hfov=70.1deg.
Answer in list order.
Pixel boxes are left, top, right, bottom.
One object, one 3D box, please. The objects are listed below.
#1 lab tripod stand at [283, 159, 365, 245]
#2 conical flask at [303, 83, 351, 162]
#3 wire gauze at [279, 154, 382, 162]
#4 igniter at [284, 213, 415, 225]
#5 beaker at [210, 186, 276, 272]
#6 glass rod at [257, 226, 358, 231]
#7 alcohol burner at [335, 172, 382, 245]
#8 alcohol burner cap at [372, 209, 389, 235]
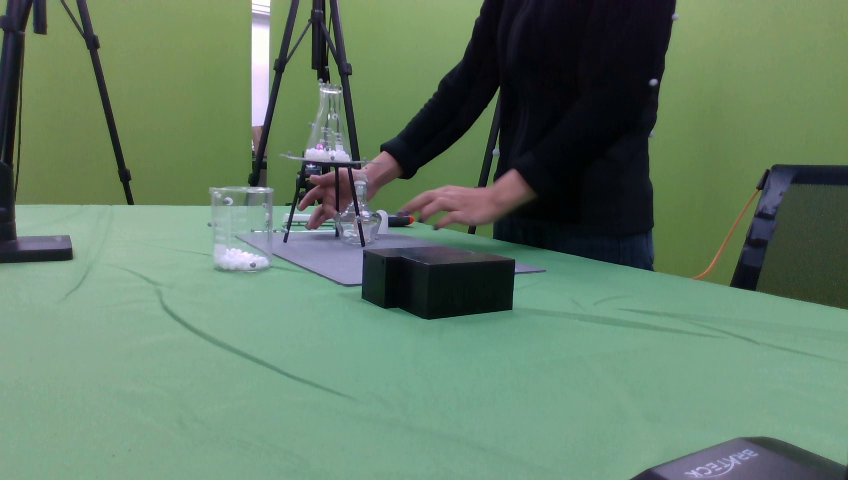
[{"bbox_3d":[-0.151,-0.063,0.983,0.148,0.131,0.148,4,7,0],"label":"lab tripod stand"},{"bbox_3d":[-0.151,-0.186,0.963,0.075,0.122,0.075,4,6,0],"label":"conical flask"},{"bbox_3d":[-0.149,-0.128,0.974,0.124,0.011,0.122,6,6,41],"label":"wire gauze"},{"bbox_3d":[-0.154,-0.045,1.282,0.278,0.025,0.057,0,-2,-20],"label":"igniter"},{"bbox_3d":[-0.224,-0.014,0.738,0.084,0.100,0.074,4,7,16],"label":"beaker"},{"bbox_3d":[-0.215,-0.022,1.151,0.201,0.008,0.008,-2,8,-27],"label":"glass rod"},{"bbox_3d":[-0.107,-0.052,0.993,0.078,0.119,0.078,2,5,0],"label":"alcohol burner"},{"bbox_3d":[-0.082,-0.035,1.143,0.034,0.048,0.034,3,6,0],"label":"alcohol burner cap"}]
